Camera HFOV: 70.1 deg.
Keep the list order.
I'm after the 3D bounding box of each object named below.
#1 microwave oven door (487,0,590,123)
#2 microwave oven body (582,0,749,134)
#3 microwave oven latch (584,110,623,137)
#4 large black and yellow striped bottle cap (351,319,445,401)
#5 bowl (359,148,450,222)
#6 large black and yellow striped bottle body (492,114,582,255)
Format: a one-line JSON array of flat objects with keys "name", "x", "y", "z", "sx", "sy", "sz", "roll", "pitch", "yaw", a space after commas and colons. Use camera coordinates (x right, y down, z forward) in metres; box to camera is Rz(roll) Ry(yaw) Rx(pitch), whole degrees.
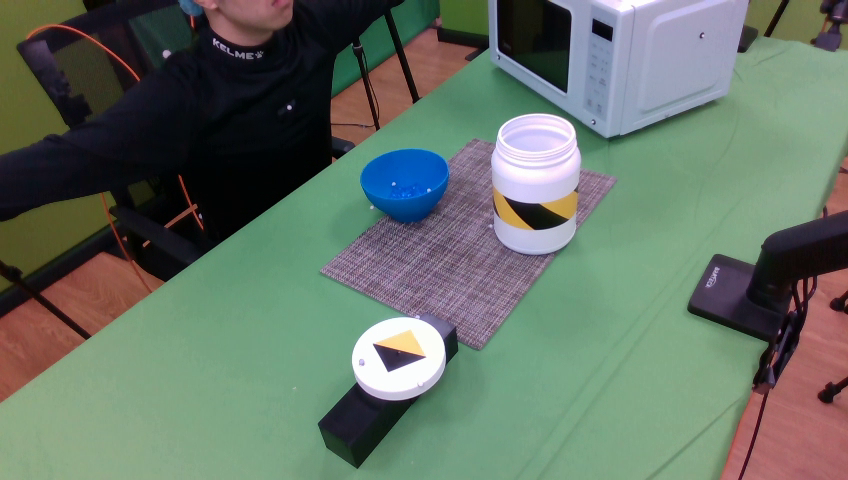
[{"name": "microwave oven door", "x": 0.232, "y": -0.420, "z": 1.230, "sx": 0.039, "sy": 0.245, "sz": 0.352, "roll": -22, "pitch": 43, "yaw": -16}, {"name": "microwave oven body", "x": 0.382, "y": -0.444, "z": 1.246, "sx": 0.327, "sy": 0.261, "sz": 0.437, "roll": -22, "pitch": 42, "yaw": -16}, {"name": "microwave oven latch", "x": 0.337, "y": -0.222, "z": 1.142, "sx": 0.030, "sy": 0.029, "sz": 0.078, "roll": -21, "pitch": 42, "yaw": -14}, {"name": "large black and yellow striped bottle cap", "x": -0.031, "y": 0.143, "z": 0.735, "sx": 0.115, "sy": 0.019, "sz": 0.114, "roll": -3, "pitch": 40, "yaw": 3}, {"name": "bowl", "x": -0.029, "y": -0.083, "z": 1.022, "sx": 0.151, "sy": 0.077, "sz": 0.150, "roll": -4, "pitch": 40, "yaw": 4}, {"name": "large black and yellow striped bottle body", "x": 0.169, "y": -0.083, "z": 0.912, "sx": 0.131, "sy": 0.185, "sz": 0.130, "roll": -4, "pitch": 41, "yaw": 4}]
